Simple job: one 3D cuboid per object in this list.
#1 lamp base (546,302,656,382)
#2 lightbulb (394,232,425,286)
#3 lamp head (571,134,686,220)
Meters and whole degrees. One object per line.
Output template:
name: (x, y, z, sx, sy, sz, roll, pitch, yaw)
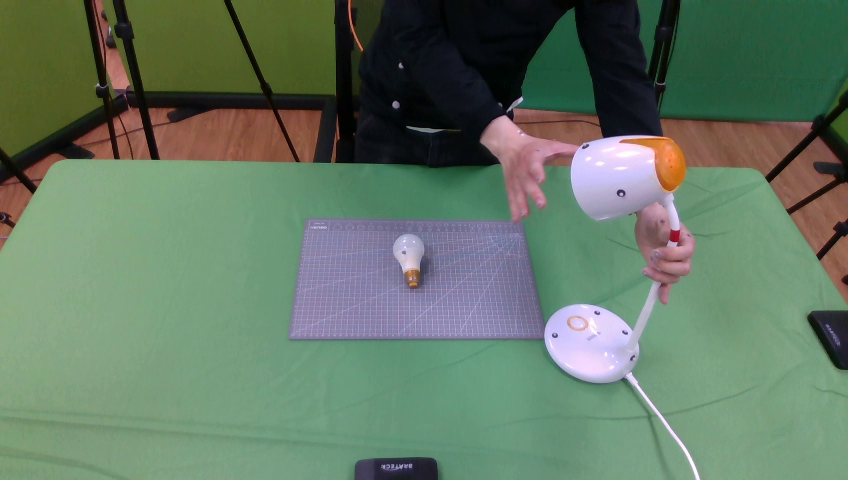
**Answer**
lamp base: (0.303, 0.127, 0.982, 0.160, 0.181, 0.178, -34, 59, -29)
lightbulb: (-0.024, 0.036, 1.134, 0.059, 0.060, 0.107, -4, 63, -7)
lamp head: (0.271, -0.084, 0.780, 0.112, 0.113, 0.122, -40, 22, -33)
